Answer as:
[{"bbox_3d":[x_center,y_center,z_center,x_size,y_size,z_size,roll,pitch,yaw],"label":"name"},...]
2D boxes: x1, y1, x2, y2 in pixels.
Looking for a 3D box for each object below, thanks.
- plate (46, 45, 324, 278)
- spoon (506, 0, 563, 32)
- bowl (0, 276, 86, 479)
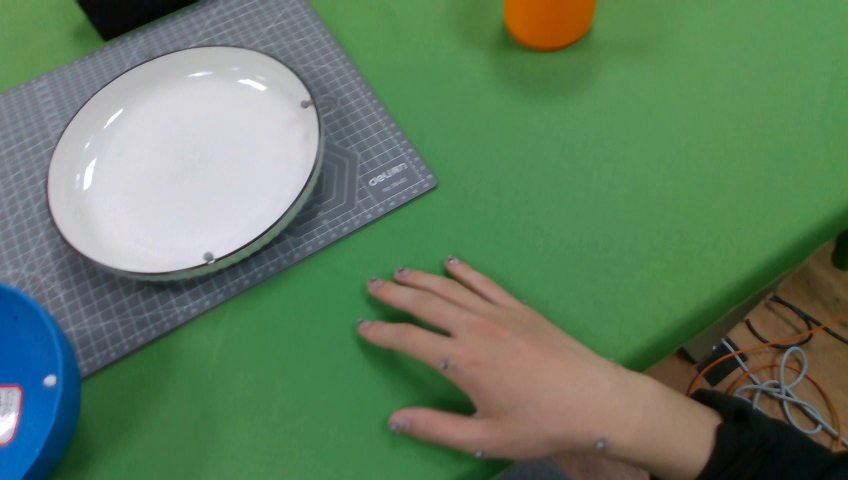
[{"bbox_3d":[-0.177,-0.061,0.467,0.209,0.038,0.207,-2,63,3],"label":"plate"},{"bbox_3d":[0.138,-0.240,0.475,0.022,0.194,0.041,0,56,-47],"label":"spoon"},{"bbox_3d":[-0.270,0.103,0.368,0.151,0.077,0.150,-1,67,2],"label":"bowl"}]
